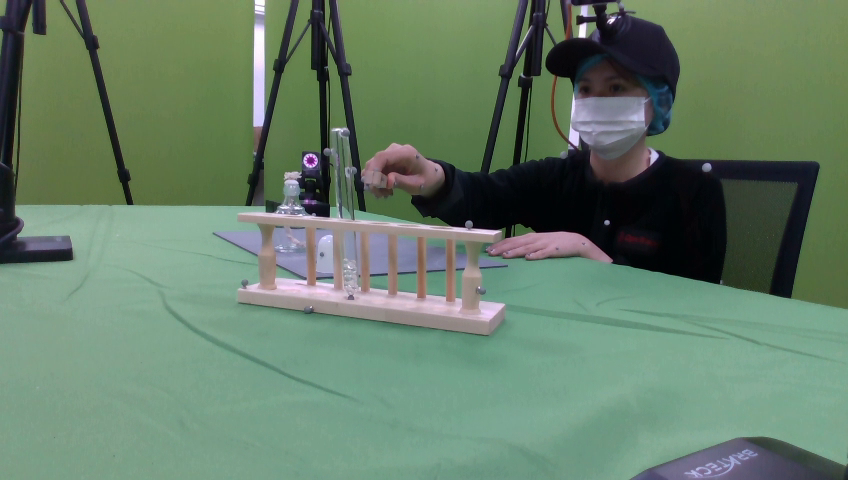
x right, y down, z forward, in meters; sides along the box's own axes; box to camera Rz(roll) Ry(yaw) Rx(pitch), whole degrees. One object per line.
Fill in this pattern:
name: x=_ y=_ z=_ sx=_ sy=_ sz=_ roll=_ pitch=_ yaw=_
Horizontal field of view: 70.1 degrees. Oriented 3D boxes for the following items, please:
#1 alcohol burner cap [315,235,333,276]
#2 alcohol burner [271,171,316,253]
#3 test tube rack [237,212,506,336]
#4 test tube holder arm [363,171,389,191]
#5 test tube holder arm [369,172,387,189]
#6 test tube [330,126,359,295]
alcohol burner cap: x=-0.116 y=0.018 z=0.728 sx=0.034 sy=0.048 sz=0.034 roll=3 pitch=6 yaw=0
alcohol burner: x=-0.196 y=-0.041 z=0.884 sx=0.078 sy=0.119 sz=0.078 roll=3 pitch=5 yaw=0
test tube rack: x=-0.049 y=0.024 z=0.552 sx=0.242 sy=0.085 sz=0.067 roll=5 pitch=8 yaw=18
test tube holder arm: x=-0.054 y=-0.067 z=0.702 sx=0.013 sy=0.015 sz=0.178 roll=13 pitch=3 yaw=0
test tube holder arm: x=-0.049 y=-0.064 z=0.657 sx=0.010 sy=0.015 sz=0.088 roll=13 pitch=3 yaw=0
test tube: x=-0.070 y=-0.024 z=0.533 sx=0.017 sy=0.150 sz=0.017 roll=-3 pitch=10 yaw=1
